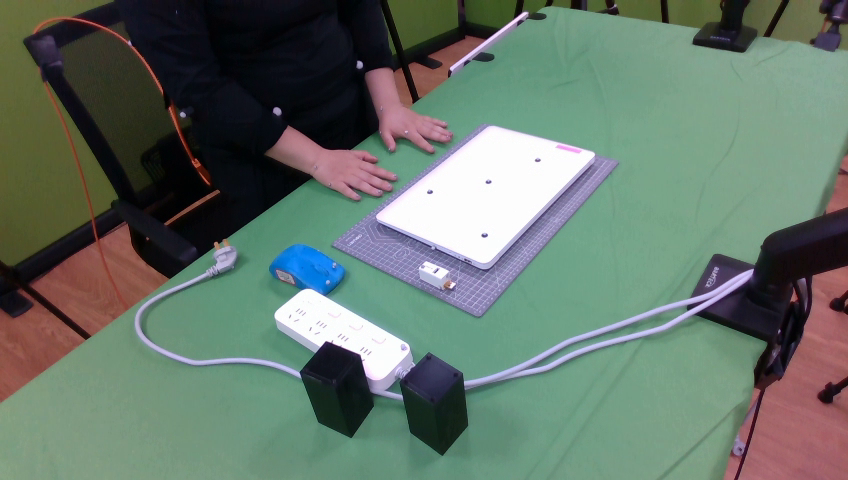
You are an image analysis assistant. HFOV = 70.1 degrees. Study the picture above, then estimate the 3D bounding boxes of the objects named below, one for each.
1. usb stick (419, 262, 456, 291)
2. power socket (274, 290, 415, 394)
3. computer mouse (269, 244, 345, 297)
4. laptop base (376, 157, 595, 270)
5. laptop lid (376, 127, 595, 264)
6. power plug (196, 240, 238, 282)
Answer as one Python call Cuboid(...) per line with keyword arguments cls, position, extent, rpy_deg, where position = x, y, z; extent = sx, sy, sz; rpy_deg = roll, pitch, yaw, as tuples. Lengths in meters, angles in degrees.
Cuboid(cls="usb stick", position=(0.022, 0.056, 0.892), extent=(0.058, 0.027, 0.021), rpy_deg=(25, 46, 30))
Cuboid(cls="power socket", position=(-0.114, 0.133, 0.820), extent=(0.225, 0.033, 0.072), rpy_deg=(24, 48, 32))
Cuboid(cls="computer mouse", position=(-0.182, 0.044, 0.933), extent=(0.116, 0.041, 0.063), rpy_deg=(22, 46, 25))
Cuboid(cls="laptop base", position=(0.115, -0.086, 1.056), extent=(0.233, 0.023, 0.355), rpy_deg=(21, 48, 34))
Cuboid(cls="laptop lid", position=(0.112, -0.096, 1.050), extent=(0.239, 0.013, 0.358), rpy_deg=(24, 49, 34))
Cuboid(cls="power plug", position=(-0.333, 0.030, 0.963), extent=(0.073, 0.035, 0.052), rpy_deg=(-18, 70, -30))
